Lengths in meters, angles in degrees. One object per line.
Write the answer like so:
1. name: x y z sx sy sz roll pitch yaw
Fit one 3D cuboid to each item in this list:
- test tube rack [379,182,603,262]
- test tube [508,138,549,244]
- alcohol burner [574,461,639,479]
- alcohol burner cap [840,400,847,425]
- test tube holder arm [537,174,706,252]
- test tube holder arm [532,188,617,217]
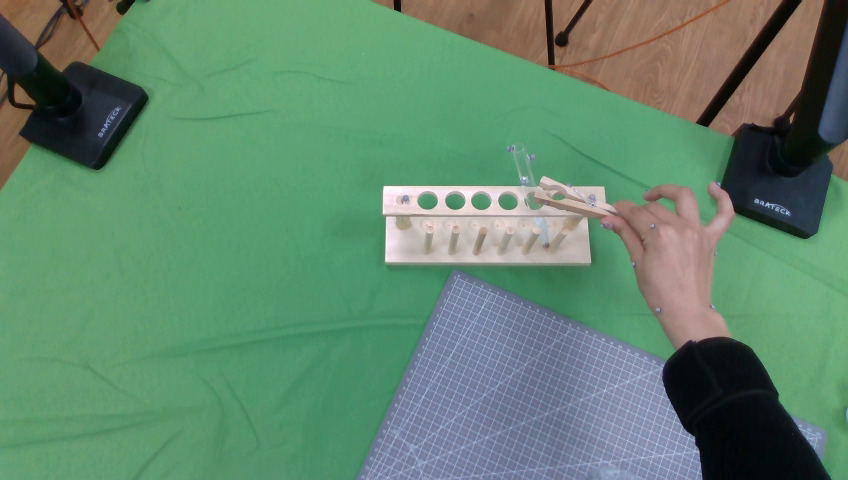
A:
1. test tube rack: 0.072 -0.018 0.689 0.242 0.085 0.066 0 71 -1
2. test tube: 0.115 -0.048 0.653 0.017 0.152 0.017 -13 44 13
3. alcohol burner: 0.184 0.256 0.586 0.078 0.119 0.077 0 73 -1
4. alcohol burner cap: 0.481 0.188 0.655 0.034 0.048 0.033 0 71 0
5. test tube holder arm: 0.198 -0.028 0.617 0.177 0.015 0.013 24 81 15
6. test tube holder arm: 0.155 -0.038 0.627 0.087 0.015 0.010 13 78 13
